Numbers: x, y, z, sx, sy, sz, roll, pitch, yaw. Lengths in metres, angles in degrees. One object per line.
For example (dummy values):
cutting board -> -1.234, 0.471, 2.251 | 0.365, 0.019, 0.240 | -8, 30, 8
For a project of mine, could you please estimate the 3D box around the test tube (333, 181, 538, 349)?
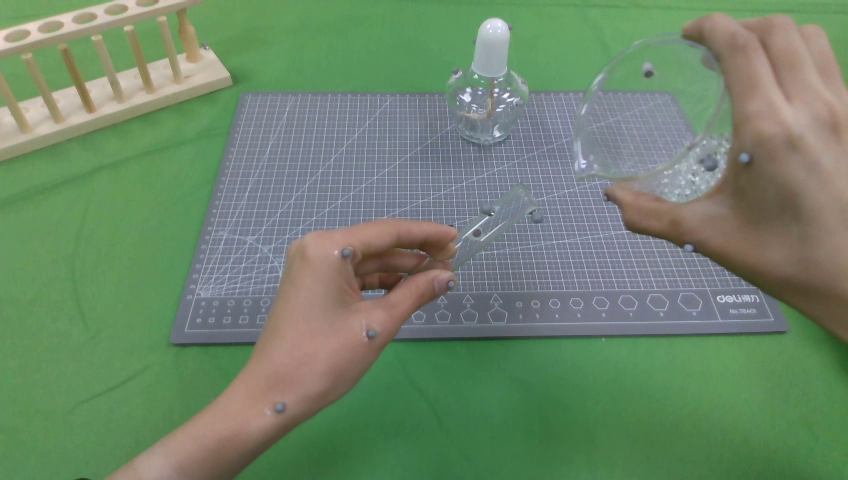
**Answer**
test tube -> 0.001, 0.018, 0.339 | 0.150, 0.017, 0.017 | -39, 47, 22

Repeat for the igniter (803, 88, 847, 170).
igniter -> 0.348, -0.029, 0.451 | 0.057, 0.025, 0.274 | 1, 47, 4

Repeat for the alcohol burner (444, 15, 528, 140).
alcohol burner -> 0.058, -0.150, 0.550 | 0.078, 0.120, 0.077 | 2, 50, -1

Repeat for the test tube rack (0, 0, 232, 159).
test tube rack -> -0.319, -0.164, 0.577 | 0.242, 0.086, 0.066 | -26, 54, -21

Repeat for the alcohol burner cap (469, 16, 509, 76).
alcohol burner cap -> 0.058, -0.171, 0.527 | 0.034, 0.048, 0.033 | 3, 48, -3

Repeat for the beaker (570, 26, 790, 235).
beaker -> 0.133, -0.047, 0.313 | 0.101, 0.084, 0.073 | 22, 35, -38
